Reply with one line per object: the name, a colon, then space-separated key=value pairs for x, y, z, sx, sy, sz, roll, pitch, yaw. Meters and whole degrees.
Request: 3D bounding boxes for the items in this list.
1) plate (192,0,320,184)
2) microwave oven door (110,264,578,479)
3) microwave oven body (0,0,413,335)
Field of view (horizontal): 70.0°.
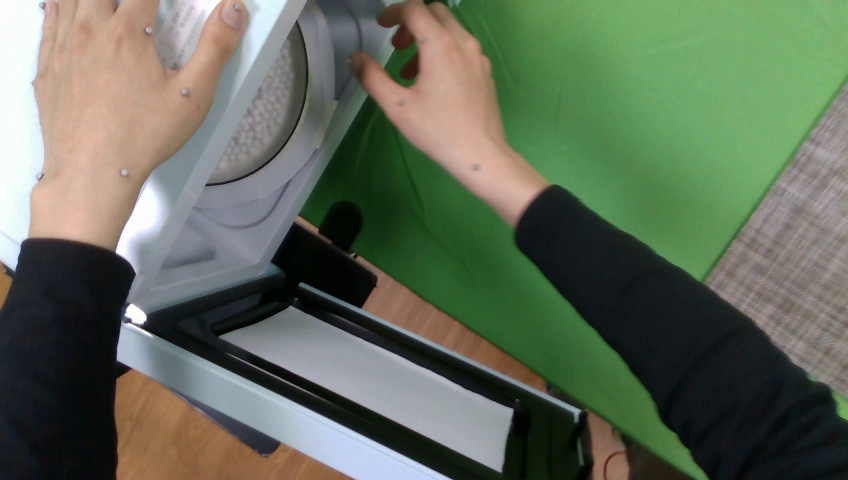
plate: x=-0.193 y=-0.157 z=0.574 sx=0.209 sy=0.038 sz=0.209 roll=1 pitch=96 yaw=11
microwave oven door: x=-0.036 y=0.122 z=0.514 sx=0.355 sy=0.244 sz=0.039 roll=23 pitch=99 yaw=7
microwave oven body: x=-0.195 y=-0.199 z=0.515 sx=0.325 sy=0.260 sz=0.442 roll=34 pitch=101 yaw=5
